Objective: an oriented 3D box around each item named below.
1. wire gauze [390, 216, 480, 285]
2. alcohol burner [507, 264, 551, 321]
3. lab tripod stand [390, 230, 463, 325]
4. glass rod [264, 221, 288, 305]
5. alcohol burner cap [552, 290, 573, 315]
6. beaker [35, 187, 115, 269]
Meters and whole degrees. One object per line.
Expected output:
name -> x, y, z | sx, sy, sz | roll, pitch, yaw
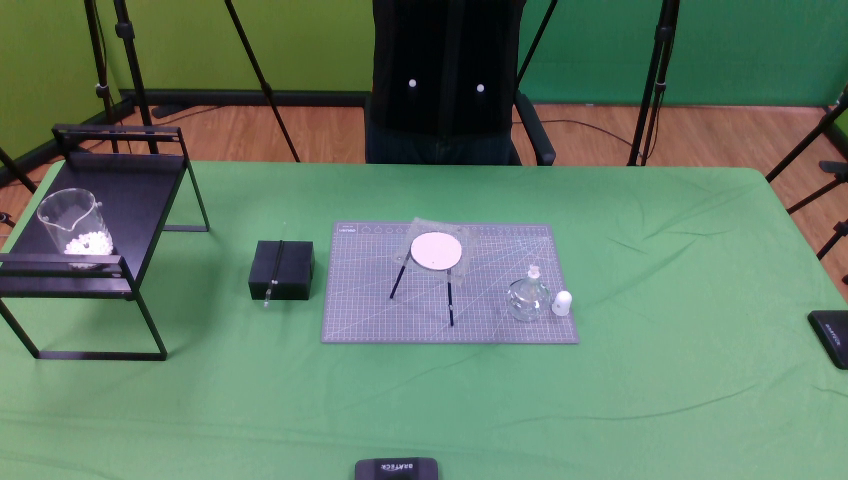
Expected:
wire gauze -> 0.020, 0.012, 1.009 | 0.125, 0.011, 0.121 | 16, 48, 12
alcohol burner -> 0.185, 0.086, 1.056 | 0.078, 0.120, 0.077 | 1, 46, -1
lab tripod stand -> 0.014, 0.060, 1.056 | 0.148, 0.132, 0.147 | 1, 48, -1
glass rod -> -0.263, 0.037, 1.083 | 0.008, 0.008, 0.198 | 3, 46, -1
alcohol burner cap -> 0.250, 0.109, 1.088 | 0.034, 0.048, 0.033 | 4, 47, -4
beaker -> -0.494, -0.012, 0.867 | 0.074, 0.101, 0.083 | -17, 50, -18
